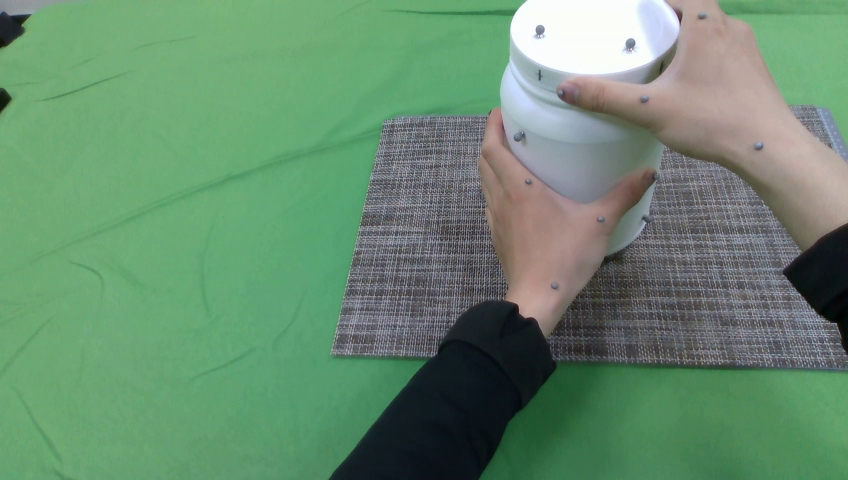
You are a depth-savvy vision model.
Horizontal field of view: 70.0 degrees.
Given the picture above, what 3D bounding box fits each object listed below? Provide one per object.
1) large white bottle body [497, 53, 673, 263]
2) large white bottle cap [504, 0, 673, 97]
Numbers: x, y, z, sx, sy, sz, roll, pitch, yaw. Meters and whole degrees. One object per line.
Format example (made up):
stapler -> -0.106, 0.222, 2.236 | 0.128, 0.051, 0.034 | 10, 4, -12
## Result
large white bottle body -> 0.125, -0.084, 0.493 | 0.130, 0.186, 0.129 | -4, 50, 5
large white bottle cap -> 0.114, -0.141, 0.426 | 0.115, 0.018, 0.113 | -4, 50, 5
